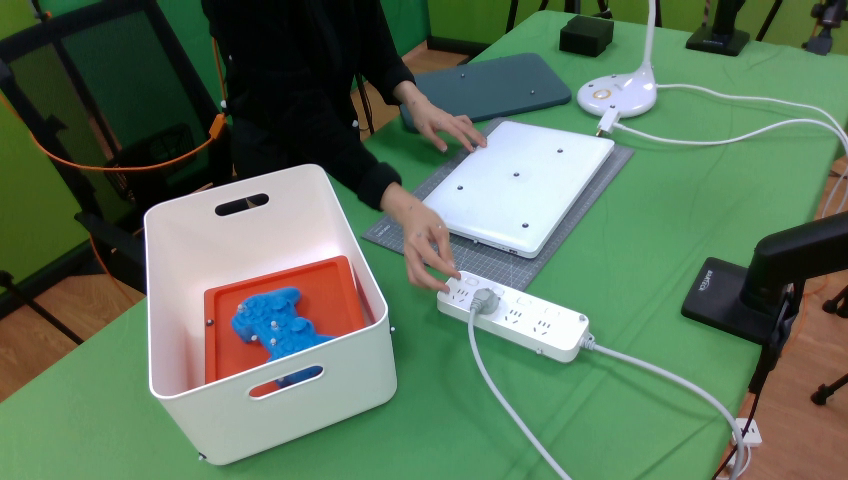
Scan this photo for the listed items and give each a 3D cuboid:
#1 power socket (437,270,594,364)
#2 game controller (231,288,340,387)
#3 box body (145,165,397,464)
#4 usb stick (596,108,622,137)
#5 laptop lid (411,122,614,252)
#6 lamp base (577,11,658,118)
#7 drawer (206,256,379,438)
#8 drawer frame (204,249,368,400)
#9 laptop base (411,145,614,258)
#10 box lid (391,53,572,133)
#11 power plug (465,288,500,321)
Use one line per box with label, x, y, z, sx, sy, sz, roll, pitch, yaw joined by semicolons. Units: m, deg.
power socket;0.118;0.102;0.830;0.225;0.033;0.072;20;48;28
game controller;-0.167;0.110;0.735;0.097;0.052;0.154;-34;47;-23
box body;-0.205;0.080;0.802;0.255;0.161;0.361;-18;41;-12
usb stick;0.354;-0.223;1.168;0.027;0.059;0.022;36;12;35
laptop lid;0.164;-0.112;1.068;0.240;0.013;0.357;19;46;30
lamp base;0.406;-0.363;1.222;0.180;0.181;0.159;-20;42;-18
drawer;-0.177;0.130;0.787;0.195;0.073;0.210;-14;39;-10
drawer frame;-0.174;0.129;0.791;0.202;0.083;0.212;-16;45;-8
laptop base;0.167;-0.102;1.074;0.234;0.023;0.355;16;45;30
box lid;0.123;-0.339;1.366;0.372;0.015;0.261;-12;40;-5
power plug;0.072;0.093;0.813;0.073;0.053;0.035;-37;49;-28
